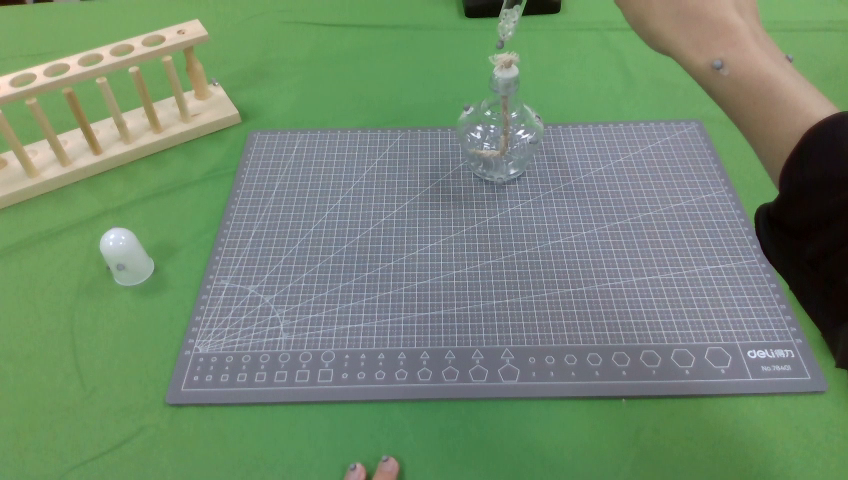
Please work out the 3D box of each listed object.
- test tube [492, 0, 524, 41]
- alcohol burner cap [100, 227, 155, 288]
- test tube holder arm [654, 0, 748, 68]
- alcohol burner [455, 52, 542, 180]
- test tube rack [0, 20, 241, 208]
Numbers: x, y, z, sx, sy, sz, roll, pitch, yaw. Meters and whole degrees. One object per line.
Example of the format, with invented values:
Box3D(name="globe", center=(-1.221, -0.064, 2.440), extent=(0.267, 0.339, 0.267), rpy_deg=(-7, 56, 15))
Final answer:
Box3D(name="test tube", center=(0.073, -0.201, 0.398), extent=(0.017, 0.151, 0.017), rpy_deg=(9, 46, -9))
Box3D(name="alcohol burner cap", center=(-0.238, 0.011, 0.481), extent=(0.034, 0.048, 0.033), rpy_deg=(0, 48, 1))
Box3D(name="test tube holder arm", center=(0.126, -0.169, 0.372), extent=(0.013, 0.015, 0.177), rpy_deg=(-35, 75, -34))
Box3D(name="alcohol burner", center=(0.066, -0.110, 0.526), extent=(0.078, 0.120, 0.077), rpy_deg=(0, 49, 0))
Box3D(name="test tube rack", center=(-0.309, -0.121, 0.571), extent=(0.242, 0.086, 0.066), rpy_deg=(-25, 52, -19))
